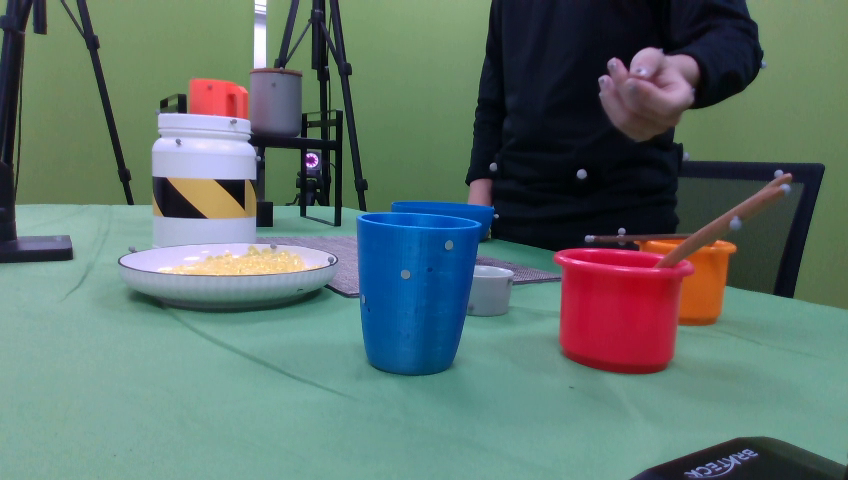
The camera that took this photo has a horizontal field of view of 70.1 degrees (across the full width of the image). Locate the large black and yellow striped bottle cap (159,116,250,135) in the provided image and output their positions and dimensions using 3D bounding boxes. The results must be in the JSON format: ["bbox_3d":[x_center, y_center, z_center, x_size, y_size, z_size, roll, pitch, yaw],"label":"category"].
[{"bbox_3d":[-0.292,-0.153,0.810,0.115,0.019,0.115,3,9,0],"label":"large black and yellow striped bottle cap"}]

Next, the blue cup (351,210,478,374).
[{"bbox_3d":[-0.009,0.034,0.414,0.093,0.100,0.092,4,8,0],"label":"blue cup"}]

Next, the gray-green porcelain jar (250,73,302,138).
[{"bbox_3d":[-0.312,-0.280,1.270,0.106,0.126,0.106,3,8,0],"label":"gray-green porcelain jar"}]

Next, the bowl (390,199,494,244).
[{"bbox_3d":[0.024,-0.015,0.872,0.151,0.077,0.151,3,7,0],"label":"bowl"}]

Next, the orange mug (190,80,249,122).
[{"bbox_3d":[-0.393,-0.257,1.173,0.126,0.100,0.084,1,6,25],"label":"orange mug"}]

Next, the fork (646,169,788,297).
[{"bbox_3d":[0.256,0.004,0.543,0.028,0.018,0.207,3,-36,-10],"label":"fork"}]

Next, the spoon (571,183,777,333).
[{"bbox_3d":[0.161,0.020,0.413,0.042,0.021,0.193,1,-36,-24],"label":"spoon"}]

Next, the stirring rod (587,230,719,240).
[{"bbox_3d":[0.226,-0.005,0.587,0.177,0.006,0.014,-2,10,-29],"label":"stirring rod"}]

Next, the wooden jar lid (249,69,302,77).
[{"bbox_3d":[-0.309,-0.341,1.262,0.108,0.020,0.108,1,8,0],"label":"wooden jar lid"}]

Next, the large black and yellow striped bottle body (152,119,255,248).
[{"bbox_3d":[-0.296,-0.070,0.819,0.131,0.184,0.130,2,7,0],"label":"large black and yellow striped bottle body"}]

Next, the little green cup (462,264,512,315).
[{"bbox_3d":[0.053,0.047,0.580,0.061,0.038,0.061,3,8,0],"label":"little green cup"}]

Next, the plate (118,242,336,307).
[{"bbox_3d":[-0.194,0.033,0.615,0.209,0.038,0.209,2,7,0],"label":"plate"}]
